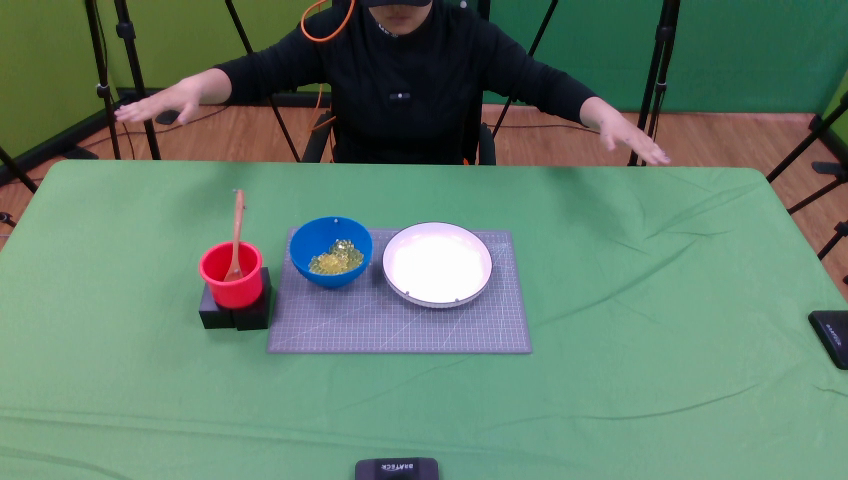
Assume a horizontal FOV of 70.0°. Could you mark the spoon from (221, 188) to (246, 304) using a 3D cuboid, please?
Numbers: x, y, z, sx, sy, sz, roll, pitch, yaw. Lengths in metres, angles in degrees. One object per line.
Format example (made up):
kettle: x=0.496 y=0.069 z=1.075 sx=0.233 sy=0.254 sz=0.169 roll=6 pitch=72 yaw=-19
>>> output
spoon: x=-0.312 y=0.010 z=1.011 sx=0.041 sy=0.021 sz=0.193 roll=4 pitch=90 yaw=3

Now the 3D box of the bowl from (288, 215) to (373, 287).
bowl: x=-0.168 y=0.034 z=1.109 sx=0.151 sy=0.077 sz=0.150 roll=2 pitch=46 yaw=-2

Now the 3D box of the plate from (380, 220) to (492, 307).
plate: x=0.021 y=0.048 z=1.137 sx=0.208 sy=0.039 sz=0.206 roll=2 pitch=46 yaw=-2
